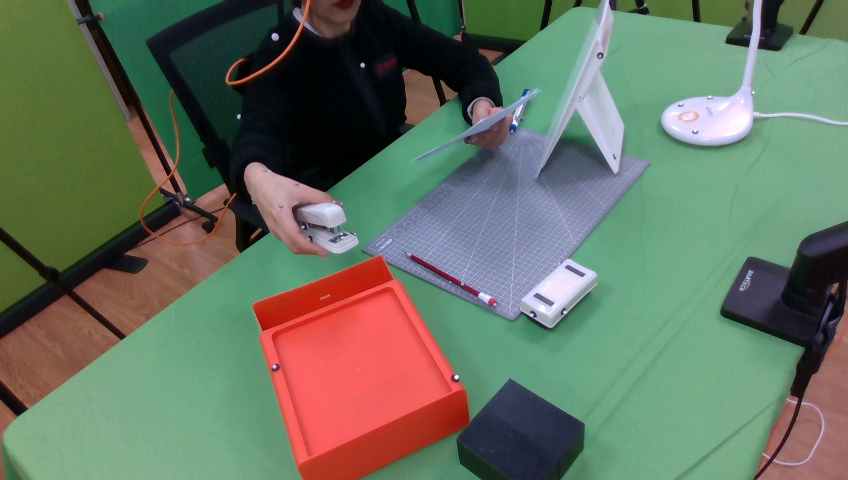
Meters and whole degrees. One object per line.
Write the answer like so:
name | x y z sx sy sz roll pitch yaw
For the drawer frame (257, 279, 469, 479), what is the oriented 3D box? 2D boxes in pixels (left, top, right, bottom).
drawer frame | -0.080 0.169 0.751 0.202 0.083 0.211 -21 42 -15

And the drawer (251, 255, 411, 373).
drawer | -0.106 0.135 0.798 0.195 0.073 0.210 -20 42 -14

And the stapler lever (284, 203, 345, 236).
stapler lever | -0.149 -0.036 0.816 0.117 0.040 0.027 20 41 41

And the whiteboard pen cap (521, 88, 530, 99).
whiteboard pen cap | 0.219 -0.312 1.301 0.018 0.018 0.033 6 47 17

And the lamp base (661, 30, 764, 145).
lamp base | 0.535 -0.287 1.096 0.179 0.181 0.159 -10 40 -4

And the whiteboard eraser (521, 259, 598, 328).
whiteboard eraser | 0.189 0.076 0.843 0.055 0.042 0.113 29 53 37

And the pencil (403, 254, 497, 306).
pencil | 0.034 0.057 0.914 0.192 0.012 0.012 27 52 38

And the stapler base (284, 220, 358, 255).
stapler base | -0.144 -0.014 0.828 0.129 0.024 0.041 20 41 42

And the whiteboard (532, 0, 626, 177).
whiteboard | 0.321 -0.258 1.050 0.144 0.306 0.217 21 45 5

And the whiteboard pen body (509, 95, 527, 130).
whiteboard pen body | 0.199 -0.273 1.261 0.017 0.017 0.140 8 44 19
